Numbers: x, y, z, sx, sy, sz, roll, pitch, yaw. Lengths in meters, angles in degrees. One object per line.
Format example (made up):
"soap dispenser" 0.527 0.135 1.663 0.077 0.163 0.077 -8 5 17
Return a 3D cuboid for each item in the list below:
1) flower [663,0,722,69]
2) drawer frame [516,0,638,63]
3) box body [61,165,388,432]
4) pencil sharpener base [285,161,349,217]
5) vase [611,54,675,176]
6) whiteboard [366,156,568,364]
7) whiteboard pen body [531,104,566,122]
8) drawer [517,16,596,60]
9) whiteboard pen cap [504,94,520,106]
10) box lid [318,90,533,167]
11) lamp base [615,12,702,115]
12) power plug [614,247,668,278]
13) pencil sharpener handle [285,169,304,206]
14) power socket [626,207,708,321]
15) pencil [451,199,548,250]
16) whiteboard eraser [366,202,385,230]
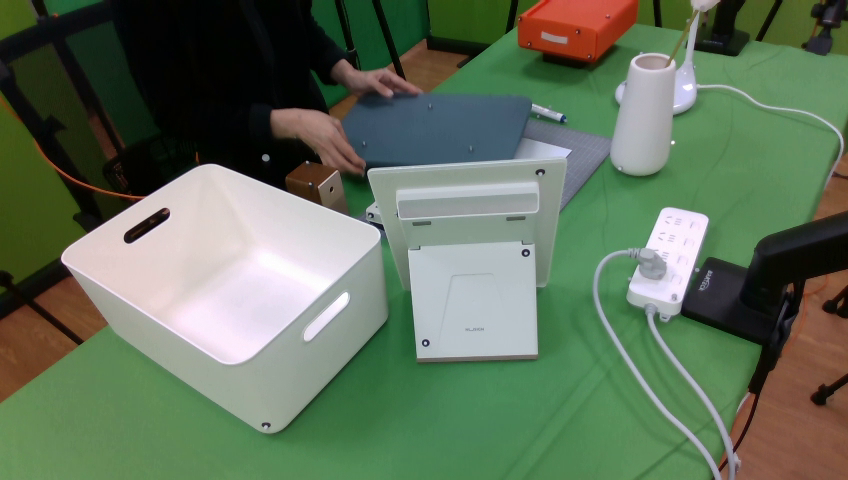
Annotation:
"flower" 0.379 -0.261 0.965 0.044 0.362 0.038 20 53 5
"drawer frame" 0.355 -0.508 1.411 0.200 0.083 0.214 23 51 32
"box body" -0.255 0.065 0.827 0.361 0.161 0.255 21 48 29
"pencil sharpener base" -0.180 -0.071 1.019 0.076 0.107 0.061 16 46 26
"vase" 0.377 -0.209 1.031 0.098 0.201 0.097 -3 40 3
"whiteboard" 0.059 0.050 0.738 0.217 0.307 0.143 -2 60 5
"whiteboard pen body" 0.234 -0.274 1.262 0.139 0.017 0.017 28 51 29
"drawer" 0.352 -0.506 1.405 0.193 0.073 0.212 23 49 32
"whiteboard pen cap" 0.190 -0.299 1.292 0.033 0.018 0.018 29 52 28
"box lid" 0.008 -0.214 1.146 0.370 0.015 0.263 5 42 17
"lamp base" 0.484 -0.364 1.211 0.180 0.181 0.159 -15 41 -14
"power plug" 0.306 0.031 0.851 0.072 0.053 0.035 24 49 33
"pencil sharpener handle" -0.227 -0.091 1.031 0.030 0.068 0.036 16 35 26
"power socket" 0.359 0.025 0.886 0.072 0.033 0.227 16 46 26
"pencil" 0.125 -0.025 0.994 0.195 0.012 0.012 -26 44 -19
"whiteboard eraser" -0.038 -0.038 1.006 0.112 0.042 0.055 16 48 25
